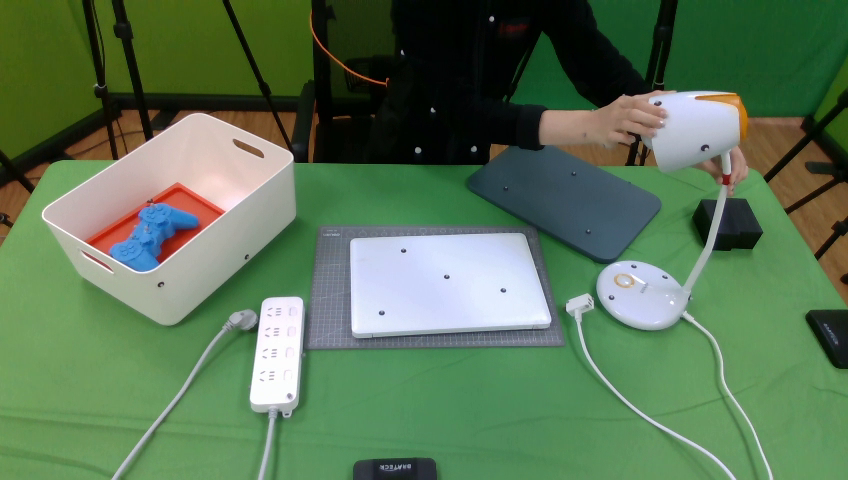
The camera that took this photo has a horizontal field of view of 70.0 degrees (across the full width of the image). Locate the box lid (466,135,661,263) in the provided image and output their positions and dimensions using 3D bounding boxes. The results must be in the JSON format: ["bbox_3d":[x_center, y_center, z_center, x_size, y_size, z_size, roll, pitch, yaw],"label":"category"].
[{"bbox_3d":[0.306,-0.102,1.327,0.370,0.015,0.263,32,52,25],"label":"box lid"}]

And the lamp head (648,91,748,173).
[{"bbox_3d":[0.385,-0.156,0.848,0.122,0.113,0.112,-5,41,26],"label":"lamp head"}]

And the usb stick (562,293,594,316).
[{"bbox_3d":[0.275,0.118,1.087,0.021,0.059,0.027,40,44,-28],"label":"usb stick"}]

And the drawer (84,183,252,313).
[{"bbox_3d":[-0.457,0.008,1.099,0.194,0.073,0.211,29,49,21],"label":"drawer"}]

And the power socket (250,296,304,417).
[{"bbox_3d":[-0.239,0.182,0.996,0.072,0.033,0.225,-2,47,-5],"label":"power socket"}]

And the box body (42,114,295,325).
[{"bbox_3d":[-0.437,-0.046,1.110,0.253,0.161,0.363,24,49,19],"label":"box body"}]

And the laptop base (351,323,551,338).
[{"bbox_3d":[0.040,0.080,1.125,0.355,0.023,0.234,-2,43,-6],"label":"laptop base"}]

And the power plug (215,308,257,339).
[{"bbox_3d":[-0.316,0.143,1.024,0.072,0.053,0.035,-32,57,-8],"label":"power plug"}]

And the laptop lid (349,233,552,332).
[{"bbox_3d":[0.040,0.070,1.119,0.357,0.013,0.240,-1,44,-5],"label":"laptop lid"}]

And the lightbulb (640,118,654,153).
[{"bbox_3d":[0.355,-0.153,0.849,0.059,0.060,0.107,-36,21,-32],"label":"lightbulb"}]

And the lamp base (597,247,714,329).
[{"bbox_3d":[0.420,0.051,1.070,0.179,0.181,0.160,23,50,12],"label":"lamp base"}]

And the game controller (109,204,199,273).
[{"bbox_3d":[-0.467,-0.005,1.044,0.097,0.052,0.154,8,45,10],"label":"game controller"}]

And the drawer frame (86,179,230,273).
[{"bbox_3d":[-0.453,0.010,1.100,0.201,0.083,0.213,28,54,23],"label":"drawer frame"}]
